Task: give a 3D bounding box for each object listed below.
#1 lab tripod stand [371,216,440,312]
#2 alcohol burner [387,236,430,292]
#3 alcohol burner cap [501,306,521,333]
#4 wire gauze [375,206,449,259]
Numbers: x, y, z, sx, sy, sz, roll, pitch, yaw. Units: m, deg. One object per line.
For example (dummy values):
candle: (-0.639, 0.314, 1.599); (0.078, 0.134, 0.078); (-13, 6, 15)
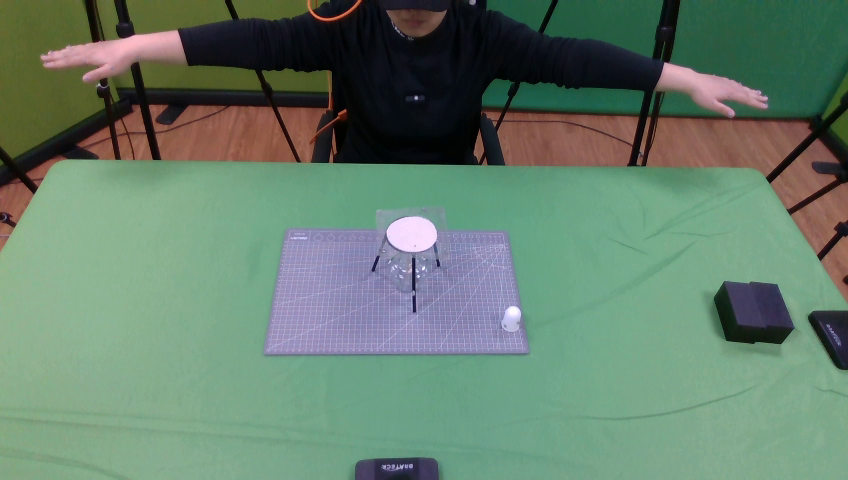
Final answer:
lab tripod stand: (-0.029, 0.033, 1.084); (0.148, 0.132, 0.147); (1, 47, -1)
alcohol burner: (-0.028, 0.038, 1.093); (0.078, 0.120, 0.077); (1, 46, -1)
alcohol burner cap: (0.155, 0.137, 1.061); (0.034, 0.048, 0.033); (2, 45, -1)
wire gauze: (-0.023, -0.014, 1.035); (0.125, 0.011, 0.120); (-1, 46, -3)
